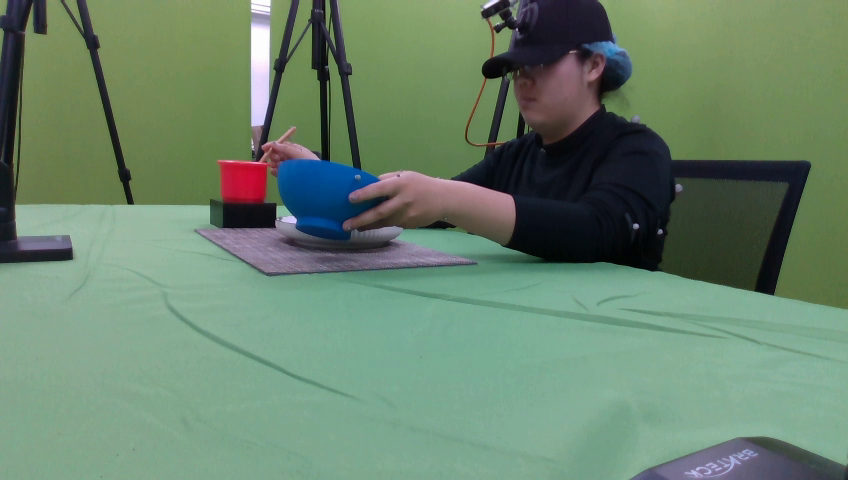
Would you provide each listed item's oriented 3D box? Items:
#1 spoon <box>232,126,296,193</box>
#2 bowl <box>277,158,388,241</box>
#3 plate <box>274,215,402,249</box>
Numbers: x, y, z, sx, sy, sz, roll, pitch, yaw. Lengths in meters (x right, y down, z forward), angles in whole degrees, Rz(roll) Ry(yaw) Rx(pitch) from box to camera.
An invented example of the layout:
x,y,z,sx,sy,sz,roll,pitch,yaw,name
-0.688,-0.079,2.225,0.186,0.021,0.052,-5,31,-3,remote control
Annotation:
x,y,z,sx,sy,sz,roll,pitch,yaw,name
-0.309,-0.160,1.186,0.041,0.194,0.022,9,-33,40,spoon
-0.128,-0.046,0.810,0.151,0.076,0.151,9,-13,2,bowl
-0.140,-0.015,0.993,0.208,0.039,0.207,3,8,0,plate
